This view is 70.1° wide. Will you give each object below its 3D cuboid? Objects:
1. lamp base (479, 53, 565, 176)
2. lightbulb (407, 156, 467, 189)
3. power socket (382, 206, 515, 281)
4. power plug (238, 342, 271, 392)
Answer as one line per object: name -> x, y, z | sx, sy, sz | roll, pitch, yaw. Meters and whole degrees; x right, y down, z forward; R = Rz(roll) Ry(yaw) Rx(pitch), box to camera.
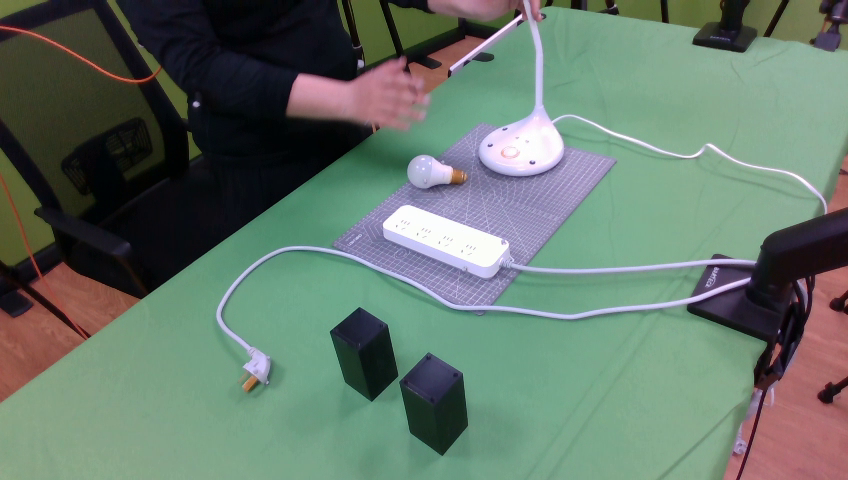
lamp base -> 0.181, -0.234, 1.093 | 0.159, 0.181, 0.179 | 18, 44, 28
lightbulb -> 0.023, -0.118, 1.081 | 0.108, 0.059, 0.059 | 7, 40, -6
power socket -> 0.032, 0.002, 0.950 | 0.225, 0.033, 0.072 | 21, 49, 29
power plug -> -0.230, 0.171, 0.801 | 0.072, 0.035, 0.053 | 10, 51, 50
